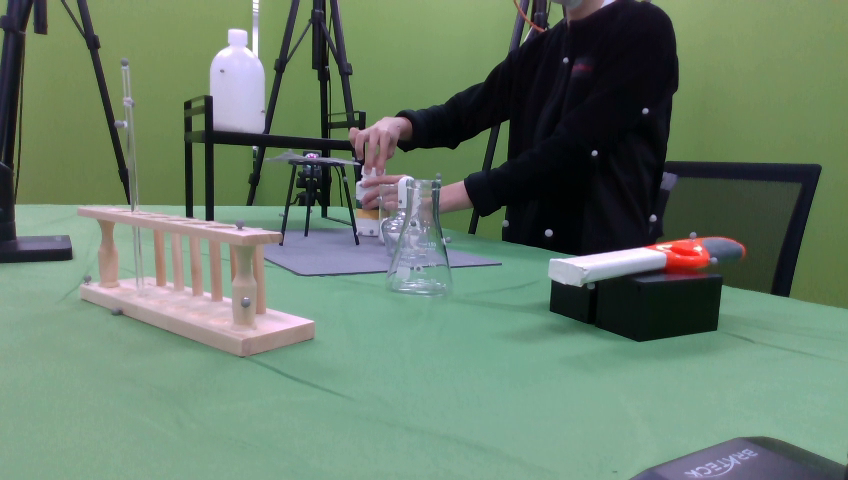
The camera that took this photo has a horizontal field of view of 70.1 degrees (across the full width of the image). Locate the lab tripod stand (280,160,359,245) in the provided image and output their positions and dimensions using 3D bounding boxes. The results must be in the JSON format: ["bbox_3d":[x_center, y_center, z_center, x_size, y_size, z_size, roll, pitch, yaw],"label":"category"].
[{"bbox_3d":[-0.176,-0.062,0.973,0.148,0.131,0.148,1,7,0],"label":"lab tripod stand"}]

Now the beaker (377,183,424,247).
[{"bbox_3d":[-0.038,-0.041,0.995,0.074,0.100,0.083,-5,12,-44],"label":"beaker"}]

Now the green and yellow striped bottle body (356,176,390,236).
[{"bbox_3d":[-0.094,-0.069,1.108,0.063,0.119,0.063,2,8,0],"label":"green and yellow striped bottle body"}]

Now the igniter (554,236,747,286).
[{"bbox_3d":[0.221,0.017,0.558,0.278,0.025,0.057,-5,14,-39],"label":"igniter"}]

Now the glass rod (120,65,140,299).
[{"bbox_3d":[-0.249,-0.047,0.513,0.008,0.199,0.008,-1,4,0],"label":"glass rod"}]

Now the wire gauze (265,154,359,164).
[{"bbox_3d":[-0.181,-0.129,0.969,0.126,0.011,0.121,-1,7,-27],"label":"wire gauze"}]

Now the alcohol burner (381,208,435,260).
[{"bbox_3d":[-0.023,-0.032,0.872,0.078,0.119,0.078,0,6,0],"label":"alcohol burner"}]

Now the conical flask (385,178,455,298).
[{"bbox_3d":[-0.002,-0.004,0.639,0.075,0.122,0.075,2,7,0],"label":"conical flask"}]

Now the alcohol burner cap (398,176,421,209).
[{"bbox_3d":[-0.023,-0.068,0.866,0.034,0.048,0.034,-5,8,1],"label":"alcohol burner cap"}]

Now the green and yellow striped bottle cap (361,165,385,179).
[{"bbox_3d":[-0.093,-0.125,1.103,0.045,0.020,0.045,9,9,-1],"label":"green and yellow striped bottle cap"}]

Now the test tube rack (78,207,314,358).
[{"bbox_3d":[-0.197,0.024,0.499,0.241,0.085,0.067,8,8,37],"label":"test tube rack"}]

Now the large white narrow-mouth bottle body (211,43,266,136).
[{"bbox_3d":[-0.361,-0.302,1.176,0.102,0.194,0.102,1,7,0],"label":"large white narrow-mouth bottle body"}]

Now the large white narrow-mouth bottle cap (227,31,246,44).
[{"bbox_3d":[-0.361,-0.388,1.165,0.038,0.024,0.037,1,7,0],"label":"large white narrow-mouth bottle cap"}]
